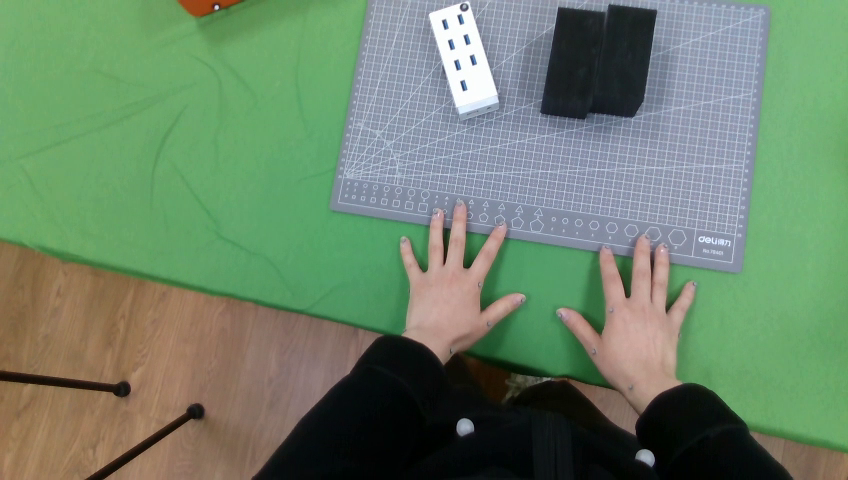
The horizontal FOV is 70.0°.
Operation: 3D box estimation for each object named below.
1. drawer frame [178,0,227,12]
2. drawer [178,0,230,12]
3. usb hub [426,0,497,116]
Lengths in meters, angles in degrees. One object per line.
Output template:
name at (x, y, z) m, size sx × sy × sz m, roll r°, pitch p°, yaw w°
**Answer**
drawer frame at (-0.226, -0.408, 0.713) m, size 0.201 × 0.083 × 0.212 m, roll -20°, pitch 80°, yaw 4°
drawer at (-0.226, -0.404, 0.715) m, size 0.194 × 0.073 × 0.211 m, roll -18°, pitch 81°, yaw 5°
usb hub at (0.043, -0.206, 0.684) m, size 0.049 × 0.025 × 0.124 m, roll -16°, pitch 82°, yaw 3°
